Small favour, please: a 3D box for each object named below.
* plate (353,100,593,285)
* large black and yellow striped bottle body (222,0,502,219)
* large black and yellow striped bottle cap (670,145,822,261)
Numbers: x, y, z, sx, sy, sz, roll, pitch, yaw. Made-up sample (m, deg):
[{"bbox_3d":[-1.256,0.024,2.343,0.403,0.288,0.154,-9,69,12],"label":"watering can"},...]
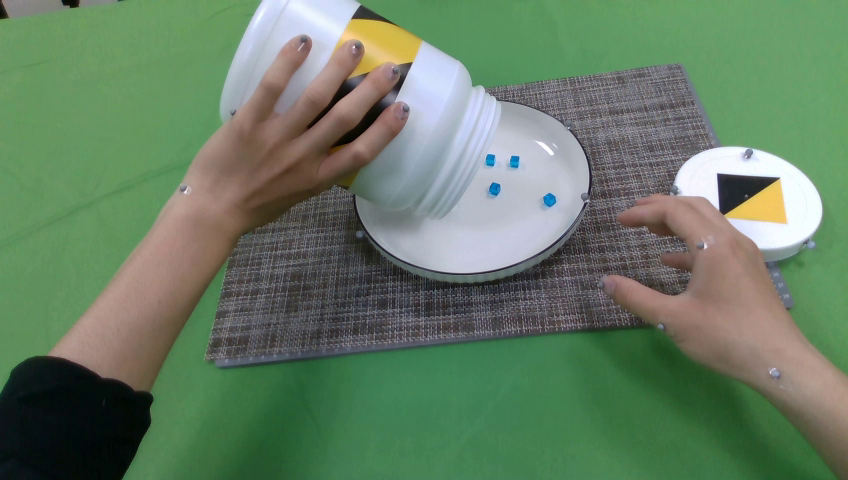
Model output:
[{"bbox_3d":[0.043,-0.044,0.537,0.207,0.039,0.205,-5,52,6],"label":"plate"},{"bbox_3d":[-0.044,-0.105,0.472,0.185,0.131,0.130,27,55,-12],"label":"large black and yellow striped bottle body"},{"bbox_3d":[0.265,-0.034,0.503,0.115,0.019,0.114,-2,53,4],"label":"large black and yellow striped bottle cap"}]
